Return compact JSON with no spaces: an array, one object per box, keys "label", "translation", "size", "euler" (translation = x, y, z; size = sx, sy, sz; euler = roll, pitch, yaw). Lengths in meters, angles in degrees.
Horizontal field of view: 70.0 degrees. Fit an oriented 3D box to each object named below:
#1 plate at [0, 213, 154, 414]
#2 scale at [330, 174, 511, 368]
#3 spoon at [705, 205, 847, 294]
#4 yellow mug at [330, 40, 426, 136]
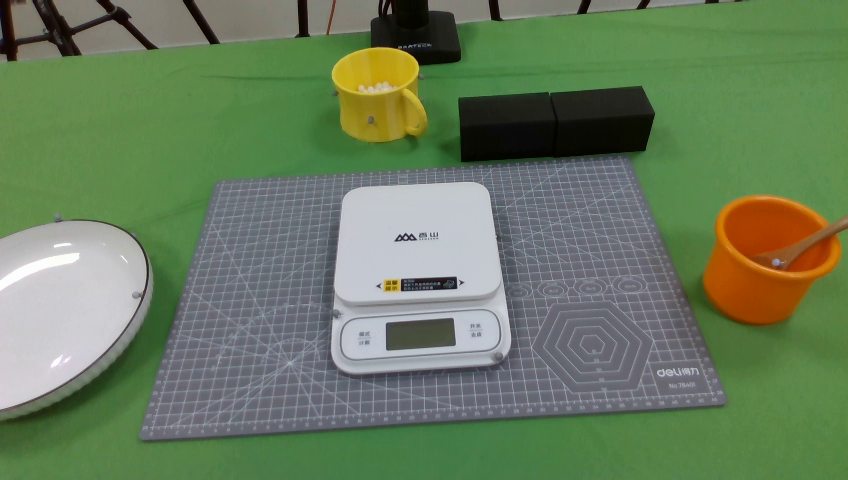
[{"label":"plate","translation":[-0.340,0.061,0.529],"size":[0.209,0.038,0.207],"euler":[-1,48,2]},{"label":"scale","translation":[-0.006,0.019,0.544],"size":[0.149,0.032,0.199],"euler":[-4,48,1]},{"label":"spoon","translation":[0.314,-0.010,0.473],"size":[0.022,0.194,0.041],"euler":[26,42,-34]},{"label":"yellow mug","translation":[-0.044,-0.171,0.700],"size":[0.129,0.064,0.100],"euler":[35,59,30]}]
